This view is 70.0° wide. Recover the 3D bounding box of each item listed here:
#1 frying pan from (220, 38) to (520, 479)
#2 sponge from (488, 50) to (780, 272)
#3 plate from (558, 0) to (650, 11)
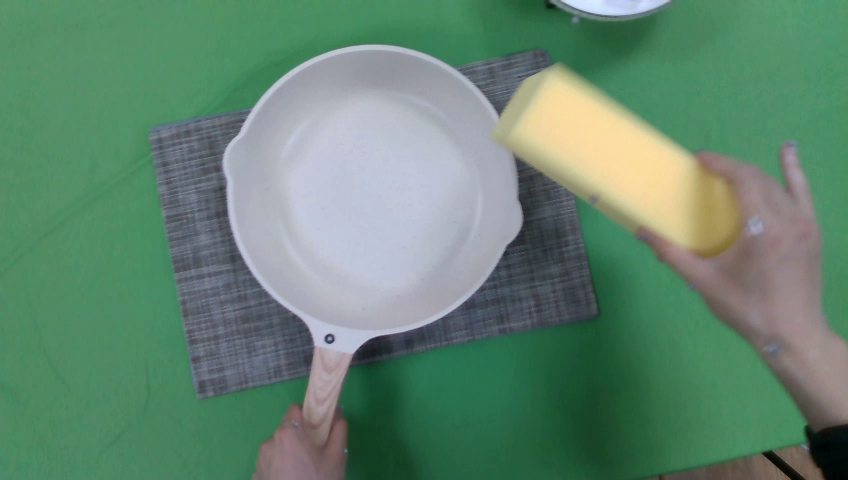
[{"bbox_3d":[-0.078,0.044,0.618,0.307,0.103,0.486,13,81,2],"label":"frying pan"},{"bbox_3d":[0.162,-0.063,0.496,0.207,0.118,0.061,33,95,-7],"label":"sponge"},{"bbox_3d":[0.179,-0.329,0.608,0.208,0.039,0.207,0,89,-1],"label":"plate"}]
